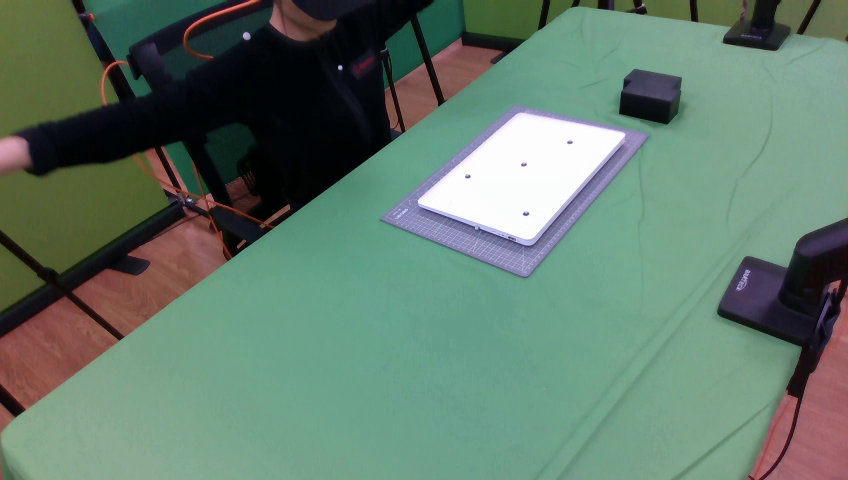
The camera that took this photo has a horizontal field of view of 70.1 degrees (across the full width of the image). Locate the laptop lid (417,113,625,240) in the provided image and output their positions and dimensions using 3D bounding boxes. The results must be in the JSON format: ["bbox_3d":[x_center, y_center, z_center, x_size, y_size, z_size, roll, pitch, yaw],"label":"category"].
[{"bbox_3d":[0.180,-0.132,1.088,0.239,0.013,0.358,22,49,34],"label":"laptop lid"}]

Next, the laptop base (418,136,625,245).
[{"bbox_3d":[0.183,-0.123,1.094,0.233,0.023,0.355,19,47,34],"label":"laptop base"}]
